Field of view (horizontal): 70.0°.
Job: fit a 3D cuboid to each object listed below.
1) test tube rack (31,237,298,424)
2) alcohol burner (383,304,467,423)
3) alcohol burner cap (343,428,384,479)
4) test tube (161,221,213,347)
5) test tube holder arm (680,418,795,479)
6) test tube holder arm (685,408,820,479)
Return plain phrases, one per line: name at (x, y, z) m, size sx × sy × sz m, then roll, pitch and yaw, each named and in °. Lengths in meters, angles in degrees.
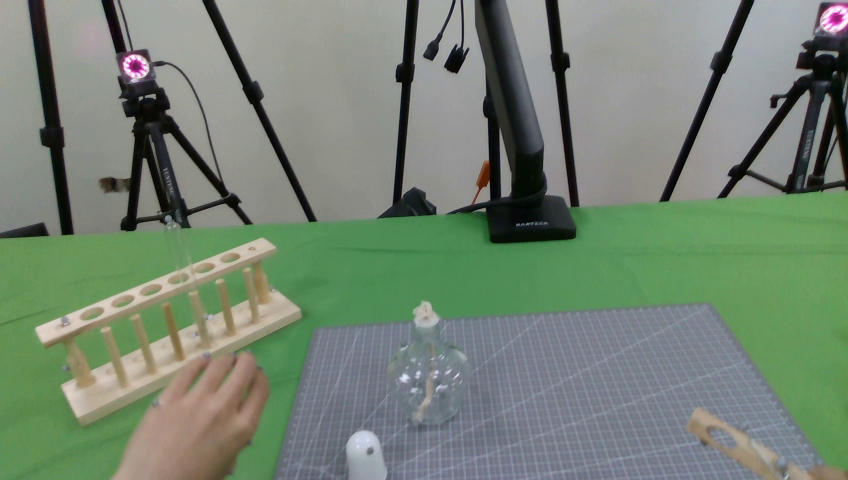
test tube rack at (-0.263, 0.087, 0.647) m, size 0.243 × 0.086 × 0.066 m, roll -25°, pitch 36°, yaw -33°
alcohol burner at (0.000, 0.105, 0.545) m, size 0.078 × 0.120 × 0.077 m, roll -2°, pitch 31°, yaw 1°
alcohol burner cap at (-0.051, 0.176, 0.497) m, size 0.034 × 0.048 × 0.033 m, roll -2°, pitch 29°, yaw 2°
test tube at (-0.242, 0.048, 0.621) m, size 0.017 × 0.151 × 0.017 m, roll -3°, pitch 30°, yaw 2°
test tube holder arm at (0.200, 0.136, 0.369) m, size 0.087 × 0.010 × 0.015 m, roll 27°, pitch 1°, yaw 39°
test tube holder arm at (0.233, 0.147, 0.340) m, size 0.176 × 0.013 × 0.015 m, roll 28°, pitch 1°, yaw 39°
